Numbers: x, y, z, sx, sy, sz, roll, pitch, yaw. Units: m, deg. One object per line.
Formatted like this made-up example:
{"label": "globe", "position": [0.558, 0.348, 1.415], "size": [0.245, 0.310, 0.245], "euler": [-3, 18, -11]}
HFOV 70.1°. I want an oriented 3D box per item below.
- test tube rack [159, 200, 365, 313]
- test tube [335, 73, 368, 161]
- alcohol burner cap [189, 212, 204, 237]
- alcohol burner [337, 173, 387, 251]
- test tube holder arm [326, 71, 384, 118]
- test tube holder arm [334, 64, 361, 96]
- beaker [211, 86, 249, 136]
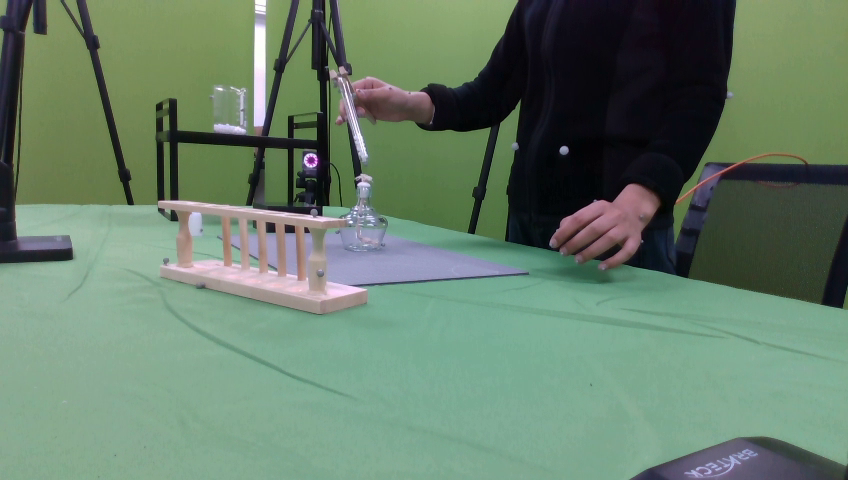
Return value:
{"label": "test tube rack", "position": [-0.173, 0.009, 0.624], "size": [0.241, 0.085, 0.067], "euler": [7, 9, 34]}
{"label": "test tube", "position": [-0.112, -0.191, 0.935], "size": [0.017, 0.150, 0.017], "euler": [-16, -13, -4]}
{"label": "alcohol burner cap", "position": [-0.389, -0.029, 1.025], "size": [0.034, 0.048, 0.034], "euler": [2, 9, 0]}
{"label": "alcohol burner", "position": [-0.095, -0.043, 0.926], "size": [0.078, 0.119, 0.078], "euler": [3, 6, 0]}
{"label": "test tube holder arm", "position": [-0.111, -0.241, 1.013], "size": [0.013, 0.015, 0.179], "euler": [-37, -21, 12]}
{"label": "test tube holder arm", "position": [-0.121, -0.254, 0.970], "size": [0.010, 0.015, 0.088], "euler": [-34, -20, 2]}
{"label": "beaker", "position": [-0.413, -0.274, 1.297], "size": [0.074, 0.100, 0.083], "euler": [-5, 11, -44]}
